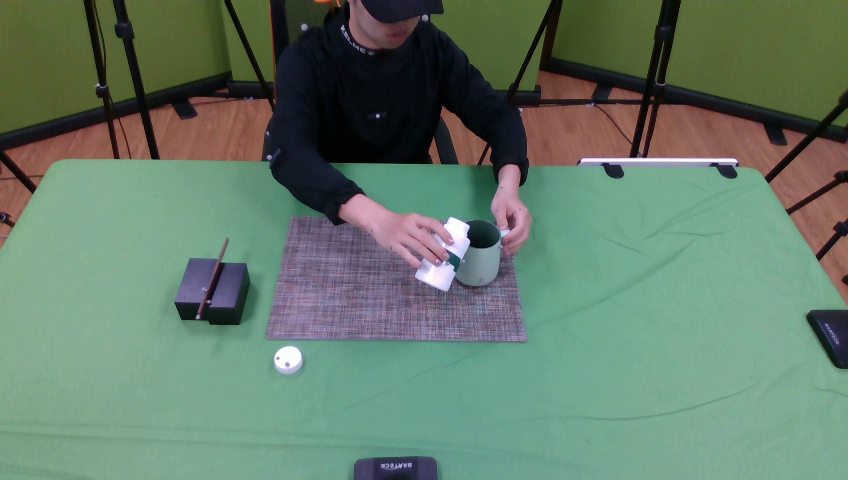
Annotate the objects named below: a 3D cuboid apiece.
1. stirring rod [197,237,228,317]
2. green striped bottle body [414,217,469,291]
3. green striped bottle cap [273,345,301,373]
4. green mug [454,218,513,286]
[{"bbox_3d":[-0.363,0.060,1.047,0.006,0.014,0.175,7,46,-3],"label":"stirring rod"},{"bbox_3d":[0.035,0.022,1.028,0.063,0.063,0.119,24,88,17],"label":"green striped bottle body"},{"bbox_3d":[-0.225,0.195,0.997,0.044,0.020,0.044,2,50,-2],"label":"green striped bottle cap"},{"bbox_3d":[0.110,0.018,1.126,0.125,0.105,0.092,-19,50,-21],"label":"green mug"}]
